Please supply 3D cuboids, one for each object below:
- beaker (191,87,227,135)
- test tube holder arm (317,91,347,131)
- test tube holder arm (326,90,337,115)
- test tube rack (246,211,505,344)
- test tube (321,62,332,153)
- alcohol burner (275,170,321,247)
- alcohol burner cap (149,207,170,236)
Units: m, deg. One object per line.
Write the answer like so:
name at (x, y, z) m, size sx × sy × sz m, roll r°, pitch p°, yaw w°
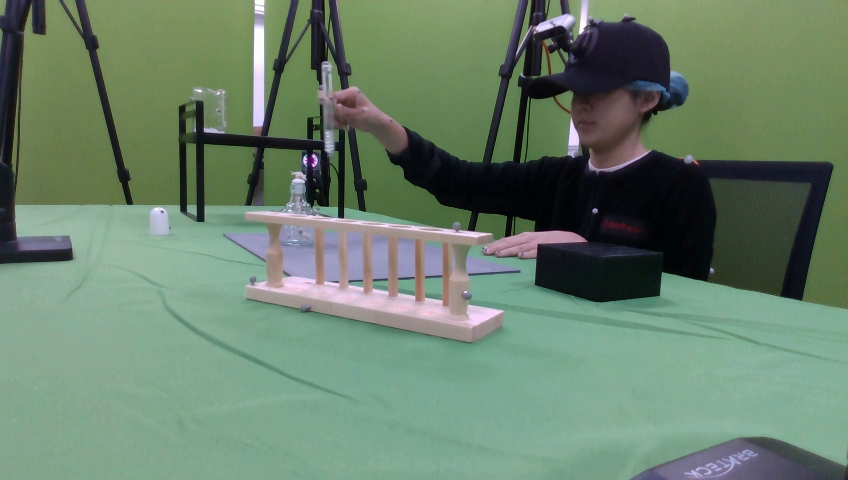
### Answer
beaker at (-0.475, -0.284, 1.345) m, size 0.074 × 0.100 × 0.083 m, roll -3°, pitch 10°, yaw -37°
test tube holder arm at (-0.156, -0.218, 1.033) m, size 0.013 × 0.015 × 0.178 m, roll 0°, pitch -6°, yaw 4°
test tube holder arm at (-0.151, -0.223, 0.988) m, size 0.010 × 0.015 × 0.088 m, roll 0°, pitch -6°, yaw -3°
test tube rack at (-0.049, 0.025, 0.547) m, size 0.241 × 0.085 × 0.067 m, roll 7°, pitch 8°, yaw 29°
test tube at (-0.155, -0.211, 0.963) m, size 0.017 × 0.150 × 0.017 m, roll -3°, pitch -8°, yaw 0°
alcohol burner at (-0.199, -0.050, 0.948) m, size 0.078 × 0.119 × 0.078 m, roll 1°, pitch 8°, yaw 0°
alcohol burner cap at (-0.445, -0.032, 1.019) m, size 0.034 × 0.048 × 0.034 m, roll 4°, pitch 8°, yaw 0°
